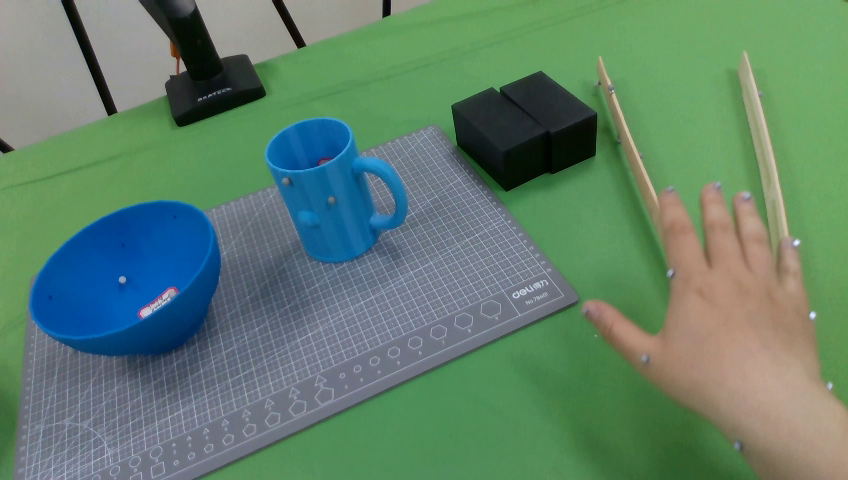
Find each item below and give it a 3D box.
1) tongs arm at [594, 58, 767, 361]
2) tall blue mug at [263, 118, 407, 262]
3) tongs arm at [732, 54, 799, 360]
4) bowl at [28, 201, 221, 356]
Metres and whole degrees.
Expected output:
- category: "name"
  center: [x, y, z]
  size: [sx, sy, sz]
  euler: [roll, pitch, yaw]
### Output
- category: "tongs arm"
  center: [0.213, -0.059, 0.550]
  size: [0.051, 0.027, 0.381]
  euler: [-1, 46, 3]
- category: "tall blue mug"
  center: [-0.074, -0.046, 0.545]
  size: [0.107, 0.109, 0.077]
  euler: [-15, 44, -1]
- category: "tongs arm"
  center: [0.294, -0.058, 0.540]
  size: [0.028, 0.028, 0.384]
  euler: [11, 48, 10]
- category: "bowl"
  center: [-0.236, 0.045, 0.514]
  size: [0.151, 0.077, 0.150]
  euler: [-6, 45, 7]
